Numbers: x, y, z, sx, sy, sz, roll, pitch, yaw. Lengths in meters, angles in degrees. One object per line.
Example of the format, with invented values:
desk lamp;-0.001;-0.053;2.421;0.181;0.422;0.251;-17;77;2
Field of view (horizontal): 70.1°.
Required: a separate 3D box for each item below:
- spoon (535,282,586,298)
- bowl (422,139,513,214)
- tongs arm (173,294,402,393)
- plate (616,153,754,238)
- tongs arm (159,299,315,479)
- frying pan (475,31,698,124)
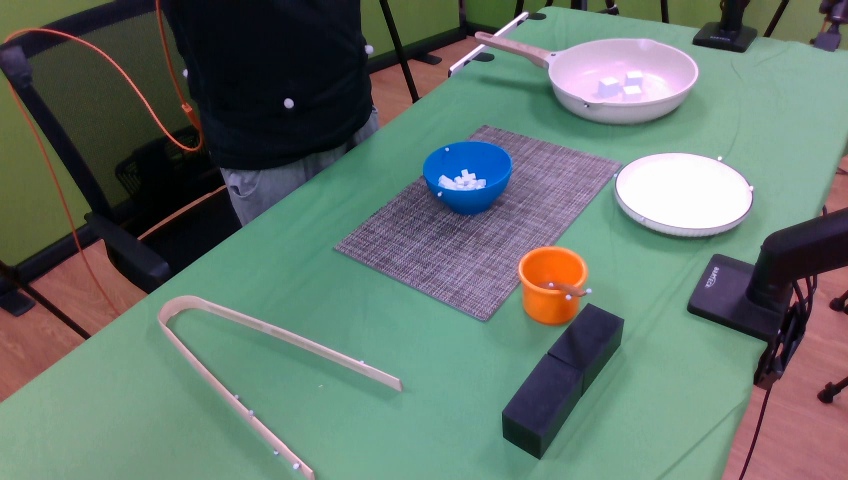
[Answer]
spoon;0.176;0.063;0.774;0.041;0.194;0.021;-3;85;1
bowl;0.075;-0.097;1.021;0.151;0.077;0.150;-4;41;4
tongs arm;-0.198;0.137;0.833;0.385;0.028;0.028;16;48;24
plate;0.416;-0.069;0.977;0.207;0.039;0.206;-4;40;4
tongs arm;-0.248;0.179;0.784;0.381;0.026;0.051;26;49;34
frying pan;0.320;-0.371;1.290;0.485;0.103;0.307;28;50;23
